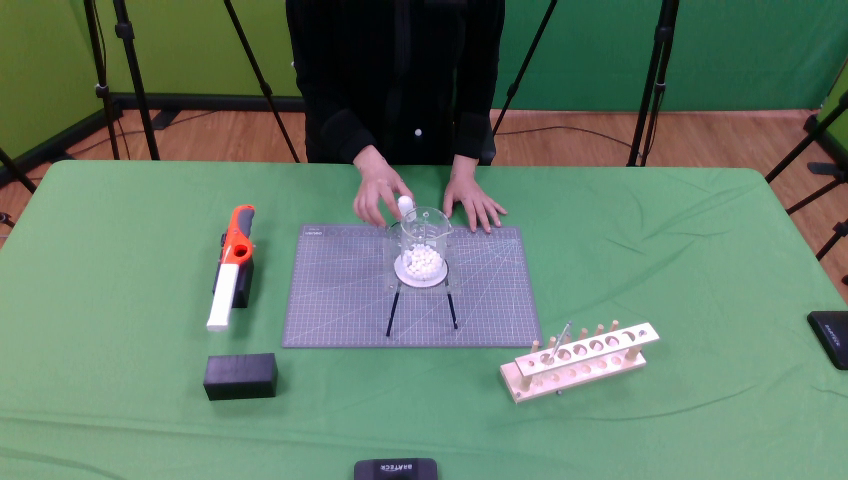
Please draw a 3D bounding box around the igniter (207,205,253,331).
[{"bbox_3d":[-0.339,0.038,1.066,0.057,0.025,0.274,2,48,-6],"label":"igniter"}]

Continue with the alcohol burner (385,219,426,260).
[{"bbox_3d":[-0.035,-0.020,1.147,0.078,0.120,0.077,1,46,-1],"label":"alcohol burner"}]

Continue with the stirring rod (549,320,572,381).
[{"bbox_3d":[0.202,0.167,0.901,0.006,0.177,0.014,-17,54,-11],"label":"stirring rod"}]

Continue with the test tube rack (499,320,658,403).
[{"bbox_3d":[0.252,0.187,0.994,0.243,0.085,0.066,-12,48,-15],"label":"test tube rack"}]

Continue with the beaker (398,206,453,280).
[{"bbox_3d":[0.000,0.008,0.950,0.084,0.101,0.073,10,46,6],"label":"beaker"}]

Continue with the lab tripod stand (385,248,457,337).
[{"bbox_3d":[-0.010,0.087,1.032,0.148,0.132,0.147,1,45,-1],"label":"lab tripod stand"}]

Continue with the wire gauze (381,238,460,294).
[{"bbox_3d":[-0.007,0.042,0.985,0.125,0.011,0.120,-1,43,-2],"label":"wire gauze"}]

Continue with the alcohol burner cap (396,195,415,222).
[{"bbox_3d":[-0.036,-0.060,1.104,0.034,0.048,0.033,-4,44,4],"label":"alcohol burner cap"}]
